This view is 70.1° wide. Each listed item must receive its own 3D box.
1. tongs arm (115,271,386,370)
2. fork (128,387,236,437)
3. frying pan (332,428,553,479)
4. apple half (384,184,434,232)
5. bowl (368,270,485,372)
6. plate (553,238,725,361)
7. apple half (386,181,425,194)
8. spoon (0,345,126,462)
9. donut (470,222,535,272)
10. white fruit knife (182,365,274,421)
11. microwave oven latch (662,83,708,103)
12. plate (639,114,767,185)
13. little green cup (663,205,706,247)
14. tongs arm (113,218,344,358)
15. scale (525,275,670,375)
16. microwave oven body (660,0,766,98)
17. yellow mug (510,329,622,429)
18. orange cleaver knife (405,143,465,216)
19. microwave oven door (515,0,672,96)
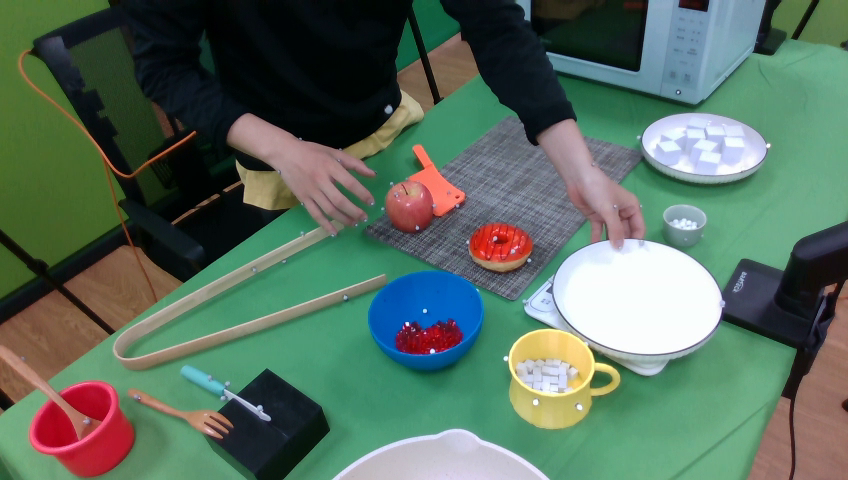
[{"bbox_3d":[-0.239,0.113,0.869,0.389,0.028,0.028,-18,48,-12],"label":"tongs arm"},{"bbox_3d":[-0.305,0.208,0.744,0.206,0.019,0.028,3,42,36],"label":"fork"},{"bbox_3d":[-0.089,0.306,0.564,0.487,0.103,0.306,10,41,7],"label":"frying pan"},{"bbox_3d":[-0.022,-0.046,0.987,0.081,0.075,0.053,-8,43,-5],"label":"apple half"},{"bbox_3d":[0.007,0.118,0.791,0.151,0.077,0.150,-4,40,4],"label":"bowl"},{"bbox_3d":[0.273,0.078,0.783,0.209,0.038,0.208,-4,40,4],"label":"plate"},{"bbox_3d":[-0.028,-0.072,1.016,0.081,0.081,0.032,-10,45,-2],"label":"apple half"},{"bbox_3d":[-0.434,0.192,0.720,0.194,0.021,0.042,47,54,-7],"label":"spoon"},{"bbox_3d":[0.119,0.009,0.923,0.099,0.048,0.098,-4,38,4],"label":"donut"},{"bbox_3d":[-0.245,0.188,0.747,0.205,0.027,0.016,9,41,41],"label":"white fruit knife"},{"bbox_3d":[0.518,-0.296,1.204,0.078,0.029,0.030,28,52,35],"label":"microwave oven latch"},{"bbox_3d":[0.489,-0.157,1.074,0.207,0.039,0.206,-4,40,4],"label":"plate"},{"bbox_3d":[0.396,-0.020,0.926,0.061,0.039,0.061,-4,40,4],"label":"little green cup"},{"bbox_3d":[-0.281,0.067,0.927,0.386,0.026,0.050,-28,47,-22],"label":"tongs arm"},{"bbox_3d":[0.254,0.092,0.821,0.199,0.032,0.149,28,51,35],"label":"scale"},{"bbox_3d":[0.472,-0.513,1.317,0.438,0.261,0.327,26,51,34],"label":"microwave oven body"},{"bbox_3d":[0.169,0.164,0.721,0.130,0.064,0.099,0,40,8],"label":"yellow mug"},{"bbox_3d":[0.005,-0.113,1.102,0.077,0.012,0.209,-24,45,-9],"label":"orange cleaver knife"},{"bbox_3d":[0.343,-0.455,1.259,0.353,0.245,0.039,26,51,33],"label":"microwave oven door"}]
